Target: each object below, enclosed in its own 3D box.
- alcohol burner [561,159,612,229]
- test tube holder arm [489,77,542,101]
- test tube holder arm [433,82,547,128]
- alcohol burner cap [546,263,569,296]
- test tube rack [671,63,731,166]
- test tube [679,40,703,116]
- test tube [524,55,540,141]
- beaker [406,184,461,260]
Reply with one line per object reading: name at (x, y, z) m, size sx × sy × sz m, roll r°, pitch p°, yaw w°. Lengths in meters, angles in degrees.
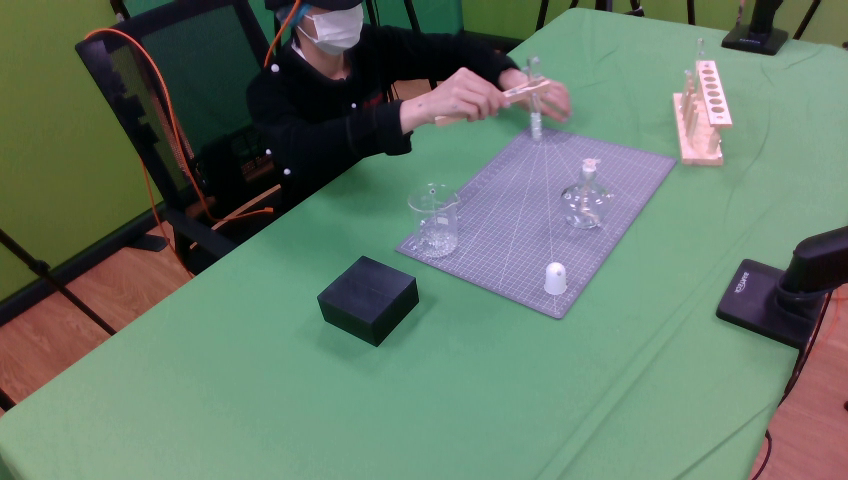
alcohol burner at (0.257, -0.077, 0.951) m, size 0.078 × 0.119 × 0.077 m, roll -3°, pitch 40°, yaw 3°
test tube holder arm at (0.137, -0.220, 0.902) m, size 0.088 × 0.015 × 0.010 m, roll -26°, pitch 45°, yaw -13°
test tube holder arm at (0.098, -0.200, 0.890) m, size 0.179 × 0.015 × 0.013 m, roll -20°, pitch 43°, yaw -8°
alcohol burner cap at (0.191, 0.053, 0.862) m, size 0.034 × 0.048 × 0.033 m, roll -5°, pitch 40°, yaw 4°
test tube rack at (0.513, -0.240, 1.132) m, size 0.066 × 0.085 × 0.242 m, roll 4°, pitch 41°, yaw 14°
test tube at (0.502, -0.303, 1.138) m, size 0.017 × 0.151 × 0.017 m, roll -3°, pitch 40°, yaw 3°
test tube at (0.165, -0.212, 0.918) m, size 0.017 × 0.151 × 0.017 m, roll -8°, pitch 46°, yaw 8°
beaker at (0.019, -0.026, 0.939) m, size 0.084 × 0.101 × 0.074 m, roll 1°, pitch 41°, yaw 9°
